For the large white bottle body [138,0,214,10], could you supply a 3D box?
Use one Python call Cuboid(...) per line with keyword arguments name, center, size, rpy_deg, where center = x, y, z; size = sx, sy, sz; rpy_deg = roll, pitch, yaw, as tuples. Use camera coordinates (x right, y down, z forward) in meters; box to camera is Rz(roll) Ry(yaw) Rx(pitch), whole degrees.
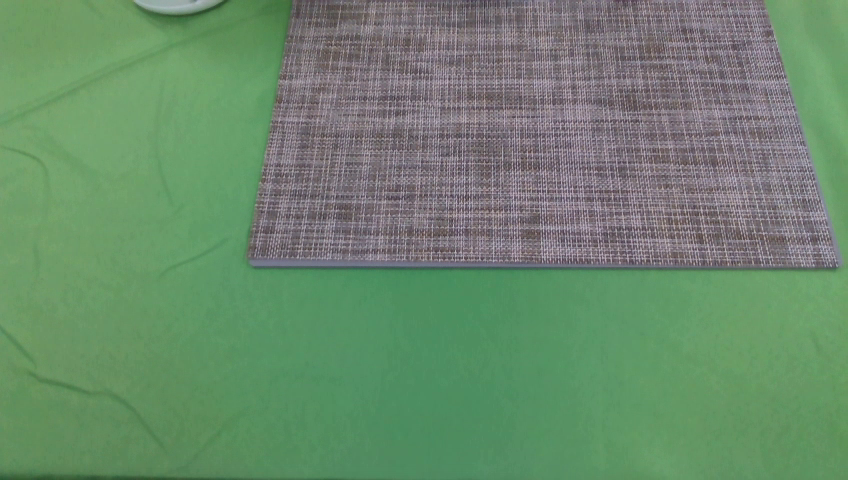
Cuboid(name="large white bottle body", center=(-0.246, -0.319, 0.538), size=(0.130, 0.186, 0.129), rpy_deg=(-1, 64, 2))
